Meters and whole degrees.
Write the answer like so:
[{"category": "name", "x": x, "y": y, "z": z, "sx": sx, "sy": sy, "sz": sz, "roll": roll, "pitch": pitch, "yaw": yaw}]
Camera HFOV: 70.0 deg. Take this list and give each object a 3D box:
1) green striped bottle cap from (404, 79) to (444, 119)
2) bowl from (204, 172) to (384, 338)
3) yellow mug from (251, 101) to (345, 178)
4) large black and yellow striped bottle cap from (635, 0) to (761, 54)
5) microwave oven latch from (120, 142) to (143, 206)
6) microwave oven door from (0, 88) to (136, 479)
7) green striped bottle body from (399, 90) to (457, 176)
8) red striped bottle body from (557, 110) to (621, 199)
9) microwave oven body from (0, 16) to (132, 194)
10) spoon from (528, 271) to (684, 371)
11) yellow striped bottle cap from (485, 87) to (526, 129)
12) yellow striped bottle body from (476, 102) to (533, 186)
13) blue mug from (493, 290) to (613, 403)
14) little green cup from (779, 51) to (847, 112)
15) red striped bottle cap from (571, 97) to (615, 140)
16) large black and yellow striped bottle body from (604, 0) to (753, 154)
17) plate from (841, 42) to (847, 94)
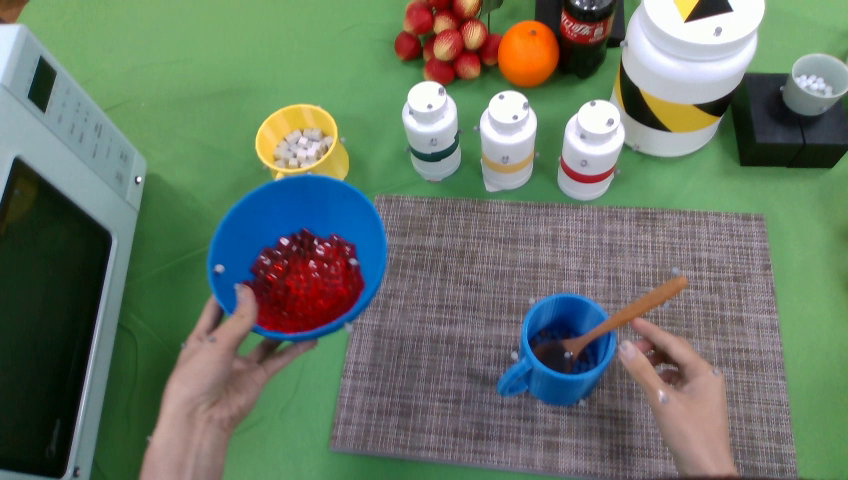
[{"category": "green striped bottle cap", "x": -0.001, "y": -0.155, "z": 0.663, "sx": 0.044, "sy": 0.020, "sz": 0.044, "roll": -3, "pitch": 62, "yaw": 5}, {"category": "bowl", "x": -0.105, "y": 0.023, "z": 0.535, "sx": 0.151, "sy": 0.077, "sz": 0.150, "roll": -2, "pitch": 64, "yaw": 3}, {"category": "yellow mug", "x": -0.158, "y": -0.098, "z": 0.741, "sx": 0.099, "sy": 0.064, "sz": 0.130, "roll": 13, "pitch": 67, "yaw": 12}, {"category": "large black and yellow striped bottle cap", "x": 0.270, "y": -0.234, "z": 0.601, "sx": 0.115, "sy": 0.019, "sz": 0.114, "roll": -3, "pitch": 63, "yaw": 6}, {"category": "microwave oven latch", "x": -0.370, "y": -0.081, "z": 0.750, "sx": 0.030, "sy": 0.030, "sz": 0.078, "roll": -3, "pitch": 65, "yaw": 4}, {"category": "microwave oven door", "x": -0.373, "y": 0.070, "z": 0.563, "sx": 0.039, "sy": 0.246, "sz": 0.352, "roll": -5, "pitch": 64, "yaw": 4}, {"category": "green striped bottle body", "x": 0.006, "y": -0.132, "z": 0.710, "sx": 0.063, "sy": 0.120, "sz": 0.062, "roll": -2, "pitch": 64, "yaw": 5}, {"category": "red striped bottle body", "x": 0.183, "y": -0.102, "z": 0.676, "sx": 0.063, "sy": 0.121, "sz": 0.062, "roll": -4, "pitch": 62, "yaw": 7}, {"category": "microwave oven body", "x": -0.519, "y": 0.047, "z": 0.596, "sx": 0.326, "sy": 0.262, "sz": 0.438, "roll": -5, "pitch": 64, "yaw": 3}, {"category": "spoon", "x": 0.154, "y": 0.080, "z": 0.545, "sx": 0.022, "sy": 0.194, "sz": 0.041, "roll": -5, "pitch": 62, "yaw": -37}, {"category": "yellow striped bottle cap", "x": 0.087, "y": -0.141, "z": 0.647, "sx": 0.044, "sy": 0.019, "sz": 0.044, "roll": -2, "pitch": 65, "yaw": 5}, {"category": "yellow striped bottle body", "x": 0.092, "y": -0.118, "z": 0.693, "sx": 0.063, "sy": 0.121, "sz": 0.062, "roll": -3, "pitch": 63, "yaw": 6}, {"category": "blue mug", "x": 0.117, "y": 0.113, "z": 0.582, "sx": 0.116, "sy": 0.107, "sz": 0.081, "roll": -29, "pitch": 64, "yaw": -8}, {"category": "little green cup", "x": 0.430, "y": -0.174, "z": 0.673, "sx": 0.061, "sy": 0.039, "sz": 0.061, "roll": -1, "pitch": 62, "yaw": 3}, {"category": "red striped bottle cap", "x": 0.176, "y": -0.127, "z": 0.630, "sx": 0.044, "sy": 0.018, "sz": 0.044, "roll": -1, "pitch": 63, "yaw": 2}, {"category": "large black and yellow striped bottle body", "x": 0.280, "y": -0.198, "z": 0.676, "sx": 0.130, "sy": 0.185, "sz": 0.129, "roll": -2, "pitch": 64, "yaw": 5}, {"category": "plate", "x": 0.603, "y": -0.189, "z": 0.719, "sx": 0.209, "sy": 0.038, "sz": 0.207, "roll": -2, "pitch": 64, "yaw": 5}]
